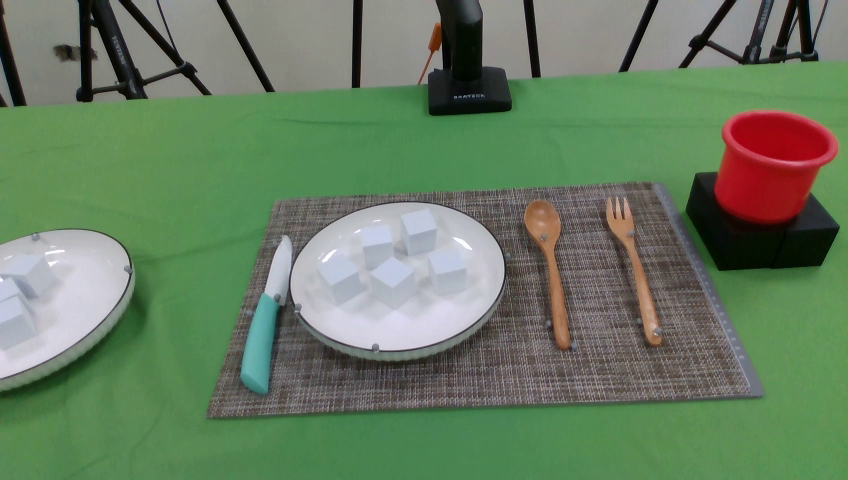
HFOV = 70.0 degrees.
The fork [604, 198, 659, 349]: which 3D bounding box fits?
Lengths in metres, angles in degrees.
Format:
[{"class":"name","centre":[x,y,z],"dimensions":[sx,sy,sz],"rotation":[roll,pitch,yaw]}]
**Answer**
[{"class":"fork","centre":[0.205,0.024,0.601],"dimensions":[0.028,0.019,0.205],"rotation":[5,39,1]}]

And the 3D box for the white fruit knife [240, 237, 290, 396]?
[{"class":"white fruit knife","centre":[-0.151,0.063,0.591],"dimensions":[0.027,0.016,0.205],"rotation":[19,36,-17]}]

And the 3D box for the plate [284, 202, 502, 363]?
[{"class":"plate","centre":[-0.029,0.040,0.589],"dimensions":[0.207,0.039,0.205],"rotation":[-2,41,2]}]

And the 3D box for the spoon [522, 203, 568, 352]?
[{"class":"spoon","centre":[0.123,0.030,0.599],"dimensions":[0.042,0.022,0.192],"rotation":[12,40,-8]}]

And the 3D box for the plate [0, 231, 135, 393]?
[{"class":"plate","centre":[-0.387,0.070,0.590],"dimensions":[0.209,0.038,0.207],"rotation":[-2,40,2]}]
